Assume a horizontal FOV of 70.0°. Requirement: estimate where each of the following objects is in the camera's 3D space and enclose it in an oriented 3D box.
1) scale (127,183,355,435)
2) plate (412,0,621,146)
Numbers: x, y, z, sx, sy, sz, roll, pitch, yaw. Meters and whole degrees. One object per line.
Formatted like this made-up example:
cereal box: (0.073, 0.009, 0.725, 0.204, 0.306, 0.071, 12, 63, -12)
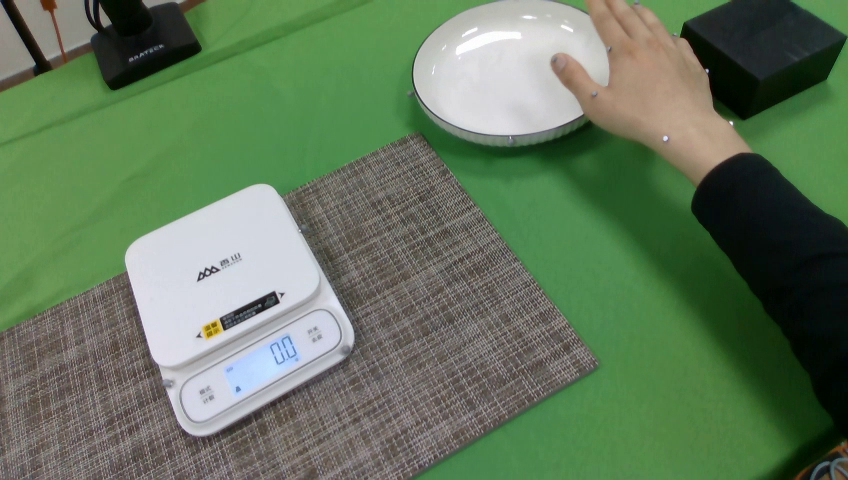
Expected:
scale: (-0.161, 0.047, 0.516, 0.149, 0.032, 0.198, -29, 57, -10)
plate: (0.092, -0.170, 0.621, 0.207, 0.039, 0.205, -5, 56, 7)
